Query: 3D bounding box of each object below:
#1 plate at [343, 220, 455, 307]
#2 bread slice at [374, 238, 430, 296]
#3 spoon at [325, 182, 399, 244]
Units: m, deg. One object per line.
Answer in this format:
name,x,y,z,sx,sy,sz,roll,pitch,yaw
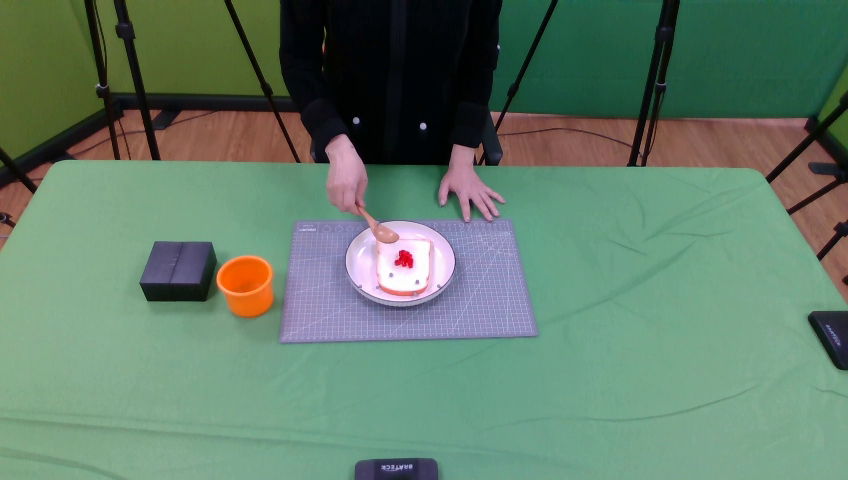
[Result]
plate,-0.047,0.046,1.135,0.209,0.038,0.208,2,46,-2
bread slice,-0.039,0.048,1.135,0.107,0.018,0.133,-1,46,-4
spoon,-0.119,-0.053,1.133,0.041,0.022,0.193,-33,67,-33
